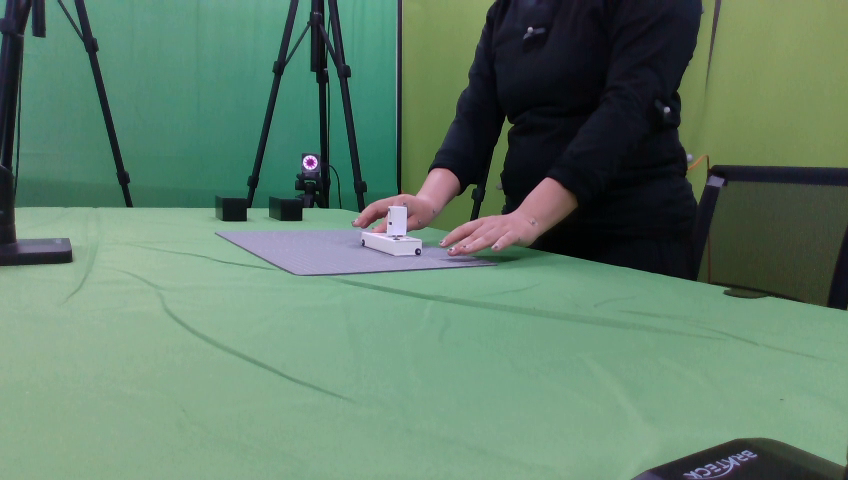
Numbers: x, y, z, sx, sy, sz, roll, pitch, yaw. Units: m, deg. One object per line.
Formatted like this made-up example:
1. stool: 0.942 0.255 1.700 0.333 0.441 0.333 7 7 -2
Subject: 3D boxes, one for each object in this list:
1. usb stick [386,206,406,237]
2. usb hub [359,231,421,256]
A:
1. usb stick: -0.043 -0.022 0.938 0.027 0.059 0.021 -6 12 -35
2. usb hub: -0.056 0.004 0.954 0.050 0.025 0.124 -2 8 -30
